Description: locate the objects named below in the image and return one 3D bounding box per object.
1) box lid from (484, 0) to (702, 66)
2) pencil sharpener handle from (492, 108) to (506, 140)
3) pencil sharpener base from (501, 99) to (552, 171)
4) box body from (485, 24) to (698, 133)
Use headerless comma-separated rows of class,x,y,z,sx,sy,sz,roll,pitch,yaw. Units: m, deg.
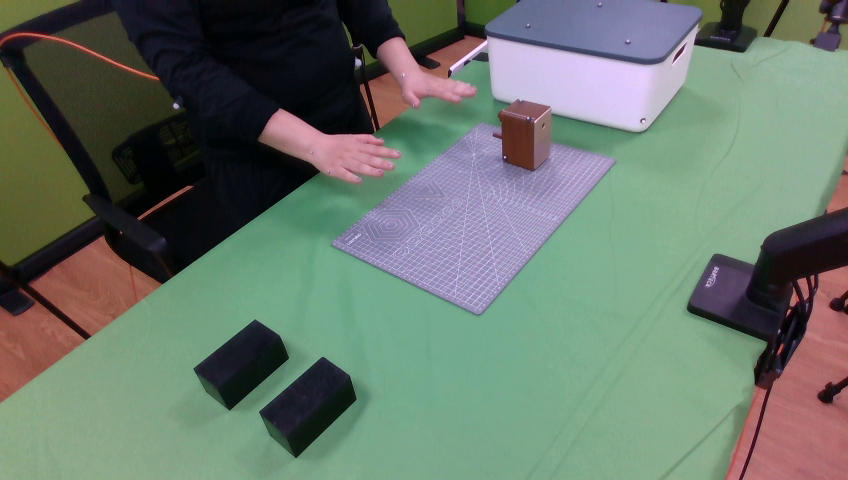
box lid,0.333,-0.428,1.202,0.368,0.015,0.264,21,48,30
pencil sharpener handle,0.141,-0.216,1.114,0.030,0.068,0.036,23,41,32
pencil sharpener base,0.184,-0.191,1.097,0.076,0.107,0.061,23,49,32
box body,0.340,-0.373,1.251,0.361,0.161,0.255,21,48,30
